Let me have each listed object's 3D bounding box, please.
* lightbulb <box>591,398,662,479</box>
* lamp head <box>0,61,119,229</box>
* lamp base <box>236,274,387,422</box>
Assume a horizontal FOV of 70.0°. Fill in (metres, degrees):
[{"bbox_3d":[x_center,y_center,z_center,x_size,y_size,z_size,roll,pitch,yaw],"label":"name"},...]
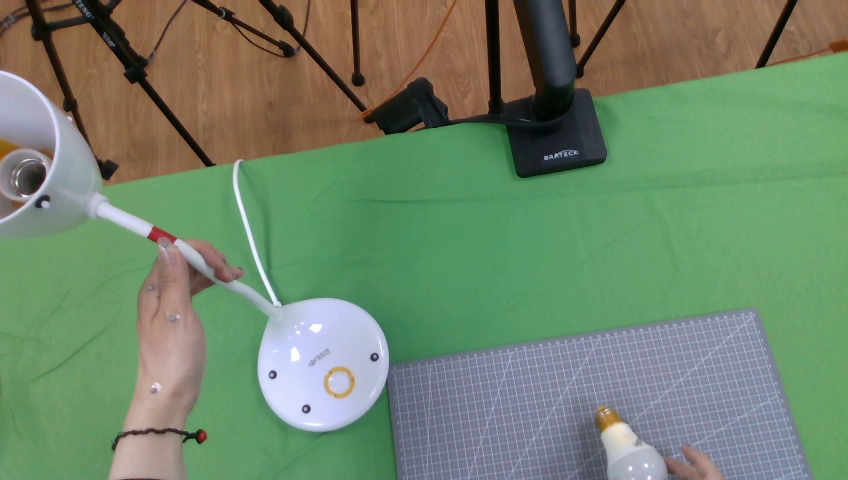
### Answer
[{"bbox_3d":[0.210,0.216,0.646,0.059,0.060,0.106,-21,47,-1],"label":"lightbulb"},{"bbox_3d":[-0.291,-0.055,0.448,0.112,0.123,0.112,0,78,2],"label":"lamp head"},{"bbox_3d":[-0.142,0.107,0.671,0.178,0.181,0.160,38,78,19],"label":"lamp base"}]
